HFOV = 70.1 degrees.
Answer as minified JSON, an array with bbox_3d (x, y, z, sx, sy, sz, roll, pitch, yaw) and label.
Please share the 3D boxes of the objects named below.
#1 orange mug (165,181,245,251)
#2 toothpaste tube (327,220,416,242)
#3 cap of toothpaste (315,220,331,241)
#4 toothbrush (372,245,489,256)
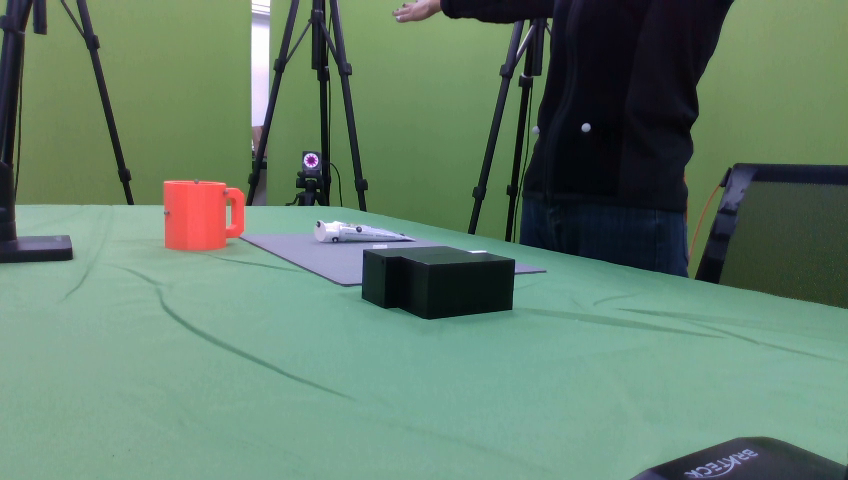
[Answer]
[{"bbox_3d":[-0.326,-0.040,0.911,0.083,0.101,0.127,8,14,37],"label":"orange mug"},{"bbox_3d":[-0.095,-0.012,1.026,0.166,0.034,0.055,2,13,-33],"label":"toothpaste tube"},{"bbox_3d":[-0.164,-0.016,0.982,0.011,0.037,0.037,-8,12,-43],"label":"cap of toothpaste"},{"bbox_3d":[0.012,0.016,0.874,0.183,0.016,0.014,1,-6,-22],"label":"toothbrush"}]
